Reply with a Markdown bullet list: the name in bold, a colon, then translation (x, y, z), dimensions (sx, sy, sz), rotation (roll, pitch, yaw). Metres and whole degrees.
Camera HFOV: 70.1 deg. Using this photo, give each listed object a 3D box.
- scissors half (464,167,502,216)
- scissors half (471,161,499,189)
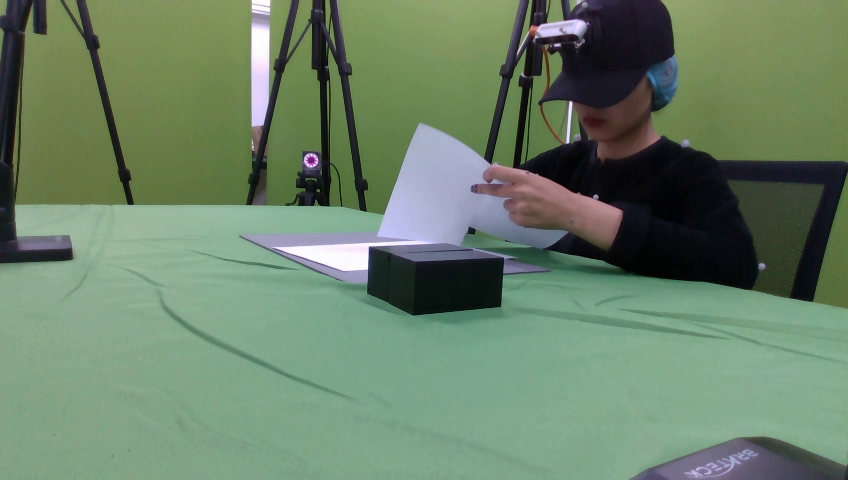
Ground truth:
- **scissors half**: translation (0.095, -0.079, 0.978), dimensions (0.013, 0.040, 0.175), rotation (15, -24, -9)
- **scissors half**: translation (0.100, -0.102, 0.981), dimensions (0.013, 0.040, 0.175), rotation (11, 13, -9)
